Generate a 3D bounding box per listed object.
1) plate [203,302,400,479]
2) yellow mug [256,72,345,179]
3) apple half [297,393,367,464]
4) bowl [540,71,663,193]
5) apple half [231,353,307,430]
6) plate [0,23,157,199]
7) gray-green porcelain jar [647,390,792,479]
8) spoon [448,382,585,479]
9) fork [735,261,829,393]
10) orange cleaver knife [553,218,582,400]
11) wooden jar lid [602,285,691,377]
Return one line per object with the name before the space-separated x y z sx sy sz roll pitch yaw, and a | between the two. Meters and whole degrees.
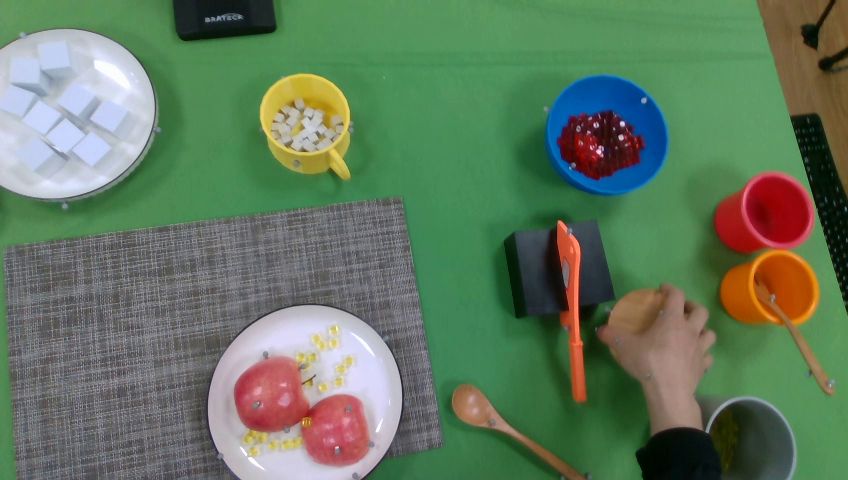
plate | -0.132 0.173 0.667 0.209 0.038 0.208 2 79 -8
yellow mug | -0.134 -0.125 0.714 0.100 0.064 0.130 -38 87 -13
apple half | -0.100 0.207 0.658 0.081 0.033 0.081 2 75 -7
bowl | 0.208 -0.123 0.754 0.152 0.077 0.150 1 79 -7
apple half | -0.168 0.164 0.648 0.075 0.053 0.080 -12 82 -7
plate | -0.413 -0.145 0.694 0.208 0.039 0.206 2 79 -7
gray-green porcelain jar | 0.320 0.222 0.678 0.106 0.127 0.105 2 78 -7
spoon | 0.108 0.228 0.700 0.194 0.022 0.041 34 61 0
fork | 0.412 0.093 0.703 0.028 0.019 0.205 7 35 -6
orange cleaver knife | 0.166 0.081 0.707 0.012 0.077 0.212 -8 104 -6
wooden jar lid | 0.261 0.107 0.717 0.108 0.021 0.108 1 80 -5
